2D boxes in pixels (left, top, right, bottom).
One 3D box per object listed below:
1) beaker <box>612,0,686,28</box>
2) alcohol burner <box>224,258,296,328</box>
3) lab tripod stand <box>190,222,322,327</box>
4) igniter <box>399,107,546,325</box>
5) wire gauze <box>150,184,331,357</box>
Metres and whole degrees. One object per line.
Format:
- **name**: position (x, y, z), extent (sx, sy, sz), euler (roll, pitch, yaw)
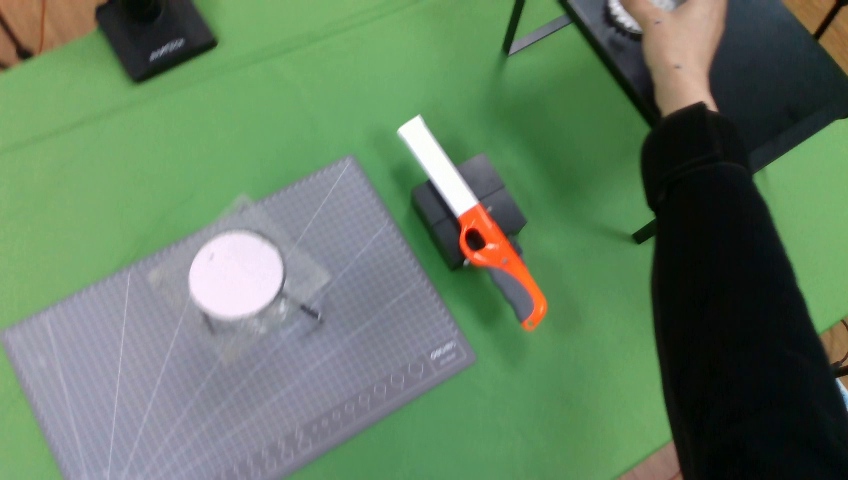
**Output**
- **beaker**: position (0.222, -0.256, 0.569), extent (0.084, 0.100, 0.073), euler (22, 76, 5)
- **alcohol burner**: position (-0.178, 0.054, 0.647), extent (0.078, 0.119, 0.077), euler (1, 78, -4)
- **lab tripod stand**: position (-0.183, 0.037, 0.640), extent (0.148, 0.132, 0.147), euler (0, 76, -2)
- **igniter**: position (0.055, -0.030, 0.681), extent (0.057, 0.025, 0.275), euler (-32, 80, 1)
- **wire gauze**: position (-0.175, 0.027, 0.574), extent (0.125, 0.011, 0.121), euler (-43, 83, -11)
